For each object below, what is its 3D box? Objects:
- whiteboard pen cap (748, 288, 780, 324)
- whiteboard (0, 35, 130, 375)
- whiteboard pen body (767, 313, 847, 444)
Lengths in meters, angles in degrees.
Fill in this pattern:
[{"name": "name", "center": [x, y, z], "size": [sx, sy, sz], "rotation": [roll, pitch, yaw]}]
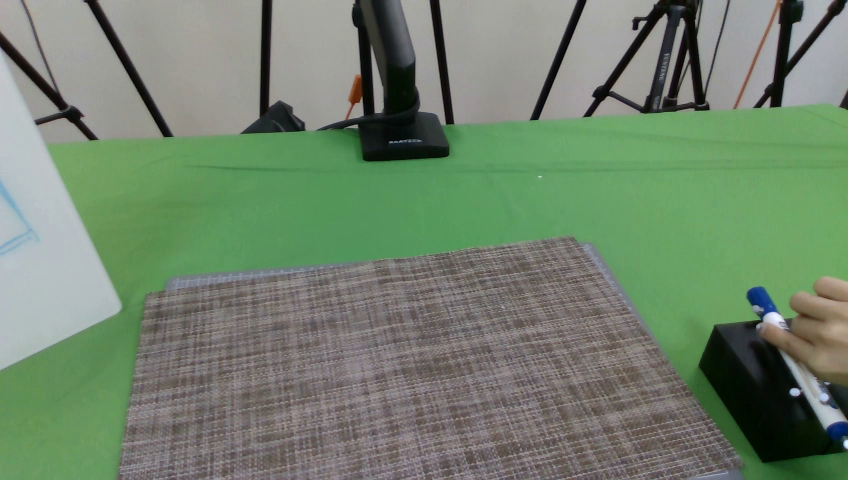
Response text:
[{"name": "whiteboard pen cap", "center": [0.290, 0.057, 0.515], "size": [0.018, 0.018, 0.033], "rotation": [2, 37, 1]}, {"name": "whiteboard", "center": [-0.431, -0.034, 0.501], "size": [0.217, 0.307, 0.142], "rotation": [-30, 28, -34]}, {"name": "whiteboard pen body", "center": [0.289, 0.093, 0.465], "size": [0.017, 0.017, 0.139], "rotation": [3, 37, 2]}]
